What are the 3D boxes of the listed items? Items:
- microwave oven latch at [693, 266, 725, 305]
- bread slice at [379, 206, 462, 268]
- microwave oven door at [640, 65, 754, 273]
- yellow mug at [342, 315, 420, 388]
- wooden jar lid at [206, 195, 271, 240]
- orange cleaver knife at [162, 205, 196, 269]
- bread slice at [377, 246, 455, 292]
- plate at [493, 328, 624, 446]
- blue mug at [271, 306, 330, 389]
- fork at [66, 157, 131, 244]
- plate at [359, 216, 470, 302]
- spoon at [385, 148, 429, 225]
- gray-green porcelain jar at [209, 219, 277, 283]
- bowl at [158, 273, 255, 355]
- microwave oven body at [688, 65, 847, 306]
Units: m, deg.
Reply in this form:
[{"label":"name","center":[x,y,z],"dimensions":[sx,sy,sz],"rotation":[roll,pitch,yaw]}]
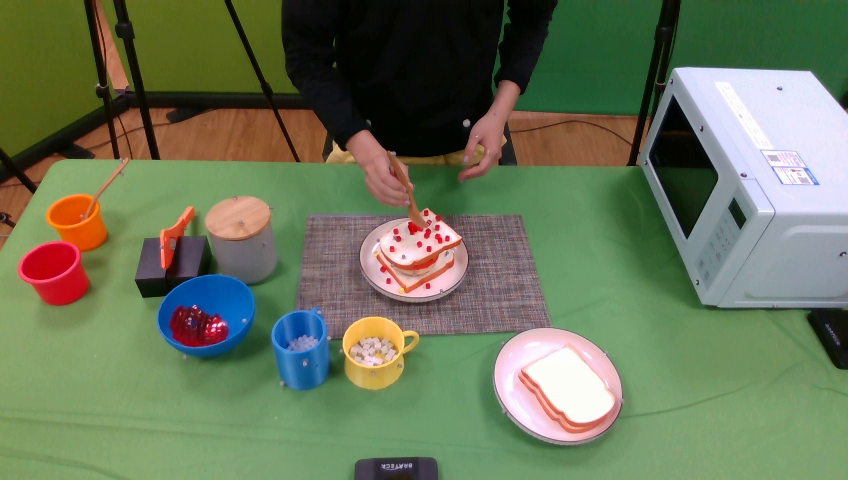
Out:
[{"label":"microwave oven latch","center":[0.523,0.081,1.115],"dimensions":[0.030,0.029,0.078],"rotation":[3,46,0]},{"label":"bread slice","center":[-0.012,-0.001,1.097],"dimensions":[0.134,0.018,0.106],"rotation":[-33,51,-24]},{"label":"microwave oven door","center":[0.523,-0.147,1.193],"dimensions":[0.039,0.245,0.353],"rotation":[0,47,-3]},{"label":"yellow mug","center":[-0.068,0.177,0.990],"dimensions":[0.131,0.064,0.099],"rotation":[-15,50,-19]},{"label":"wooden jar lid","center":[-0.319,-0.036,1.046],"dimensions":[0.108,0.021,0.107],"rotation":[1,44,0]},{"label":"orange cleaver knife","center":[-0.454,-0.010,1.129],"dimensions":[0.012,0.077,0.210],"rotation":[-1,20,-5]},{"label":"bread slice","center":[-0.010,0.034,1.150],"dimensions":[0.131,0.019,0.104],"rotation":[-29,56,-23]},{"label":"plate","center":[0.213,0.236,0.974],"dimensions":[0.208,0.039,0.206],"rotation":[2,46,-2]},{"label":"blue mug","center":[-0.188,0.163,0.969],"dimensions":[0.082,0.106,0.116],"rotation":[15,47,10]},{"label":"fork","center":[-0.608,-0.074,1.132],"dimensions":[0.207,0.019,0.028],"rotation":[-52,48,10]},{"label":"plate","center":[-0.019,0.038,1.140],"dimensions":[0.209,0.038,0.208],"rotation":[2,46,-2]},{"label":"spoon","center":[-0.030,-0.086,1.018],"dimensions":[0.041,0.195,0.021],"rotation":[28,64,36]},{"label":"gray-green porcelain jar","center":[-0.323,0.007,1.092],"dimensions":[0.106,0.127,0.105],"rotation":[2,46,-2]},{"label":"bowl","center":[-0.351,0.136,1.001],"dimensions":[0.151,0.077,0.150],"rotation":[2,46,-2]},{"label":"microwave oven body","center":[0.669,-0.111,1.176],"dimensions":[0.326,0.261,0.439],"rotation":[0,46,-3]}]
